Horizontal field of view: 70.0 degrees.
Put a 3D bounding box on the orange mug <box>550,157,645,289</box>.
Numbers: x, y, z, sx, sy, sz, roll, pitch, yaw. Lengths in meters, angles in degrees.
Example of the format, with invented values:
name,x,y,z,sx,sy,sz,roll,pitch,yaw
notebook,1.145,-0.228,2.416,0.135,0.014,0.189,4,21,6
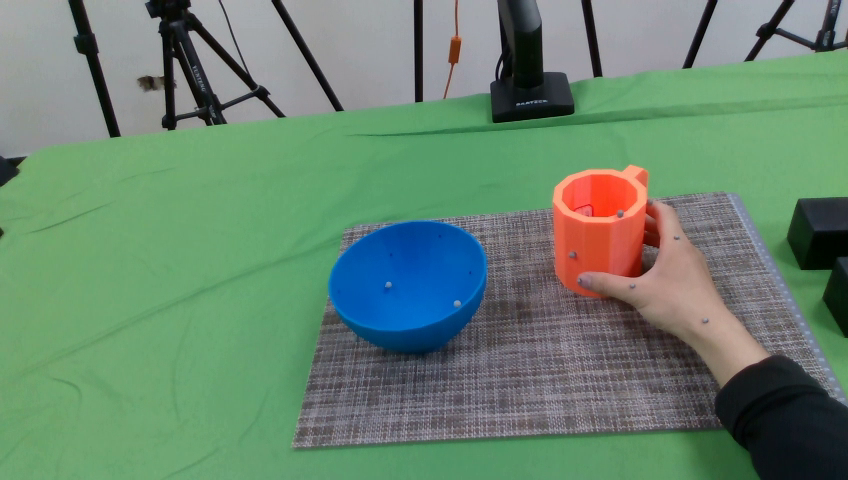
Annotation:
name,x,y,z,sx,sy,sz,roll,pitch,yaw
orange mug,0.182,-0.025,0.608,0.082,0.102,0.126,27,58,37

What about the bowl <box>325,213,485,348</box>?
name,x,y,z,sx,sy,sz,roll,pitch,yaw
bowl,-0.012,0.050,0.584,0.151,0.077,0.150,-7,40,6
